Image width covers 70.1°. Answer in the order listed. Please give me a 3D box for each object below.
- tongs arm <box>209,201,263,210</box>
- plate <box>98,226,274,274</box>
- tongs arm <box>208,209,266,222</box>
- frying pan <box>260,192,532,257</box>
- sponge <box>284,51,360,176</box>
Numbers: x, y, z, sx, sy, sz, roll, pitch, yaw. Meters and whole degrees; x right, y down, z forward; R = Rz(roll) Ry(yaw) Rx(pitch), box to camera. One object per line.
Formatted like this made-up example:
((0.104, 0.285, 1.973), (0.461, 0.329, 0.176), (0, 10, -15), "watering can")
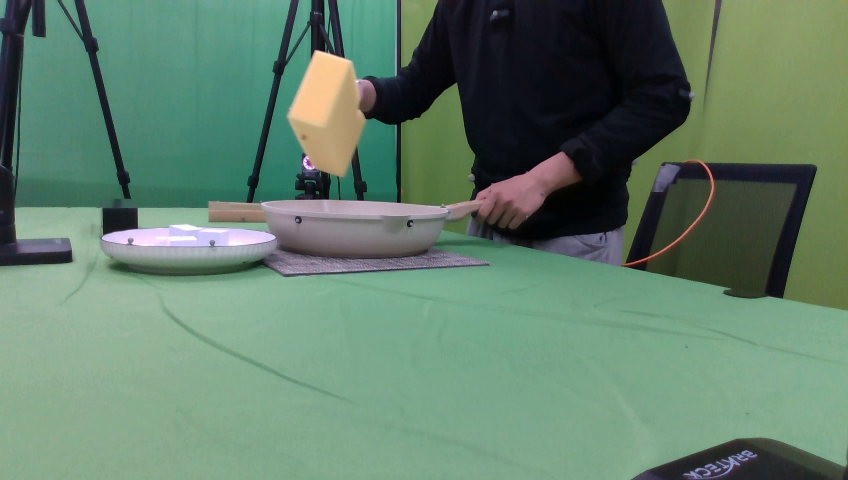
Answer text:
((-0.306, -0.071, 1.430), (0.386, 0.026, 0.050), (1, 8, -15), "tongs arm")
((-0.301, 0.012, 0.778), (0.208, 0.039, 0.207), (3, 7, 0), "plate")
((-0.280, -0.056, 1.355), (0.389, 0.028, 0.028), (-1, 6, -28), "tongs arm")
((-0.017, -0.043, 1.006), (0.490, 0.102, 0.305), (-11, 13, -26), "frying pan")
((-0.164, -0.204, 1.016), (0.061, 0.118, 0.207), (19, -15, 5), "sponge")
